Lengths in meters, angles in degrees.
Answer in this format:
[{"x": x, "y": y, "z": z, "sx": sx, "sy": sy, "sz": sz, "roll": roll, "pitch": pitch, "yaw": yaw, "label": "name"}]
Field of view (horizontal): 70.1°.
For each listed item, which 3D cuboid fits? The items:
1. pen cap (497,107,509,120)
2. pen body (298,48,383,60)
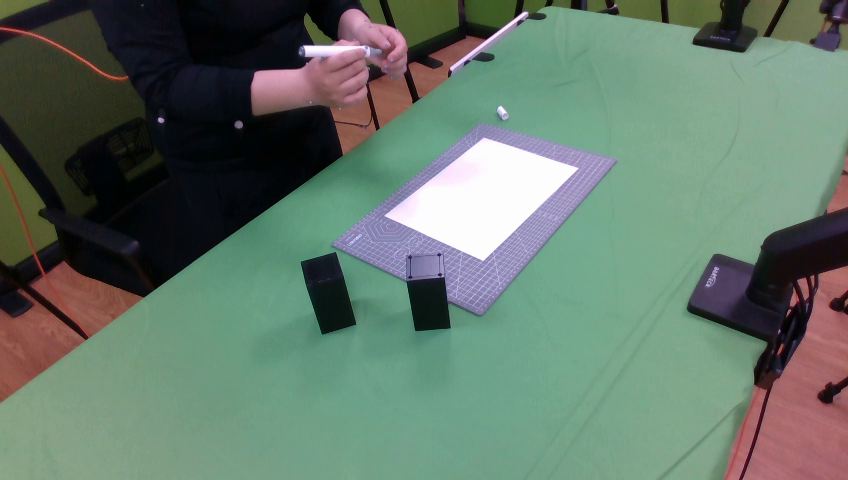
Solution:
[{"x": 0.164, "y": -0.264, "z": 1.261, "sx": 0.017, "sy": 0.017, "sz": 0.038, "roll": -14, "pitch": 40, "yaw": -7, "label": "pen cap"}, {"x": -0.124, "y": -0.284, "z": 0.923, "sx": 0.145, "sy": 0.017, "sz": 0.016, "roll": -14, "pitch": 37, "yaw": -35, "label": "pen body"}]
